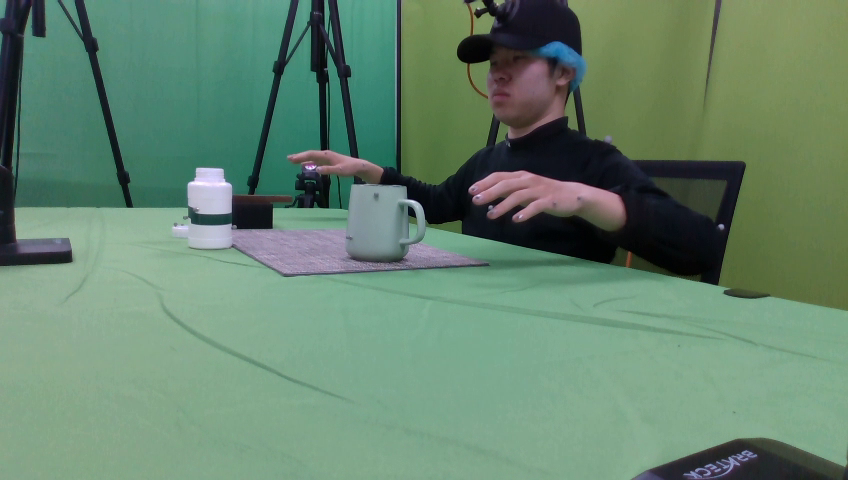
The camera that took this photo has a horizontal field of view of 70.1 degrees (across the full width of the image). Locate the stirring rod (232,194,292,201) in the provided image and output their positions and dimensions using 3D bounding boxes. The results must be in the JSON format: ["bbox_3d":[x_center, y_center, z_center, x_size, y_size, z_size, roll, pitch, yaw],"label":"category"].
[{"bbox_3d":[-0.353,-0.086,1.216,0.177,0.014,0.006,-1,12,-27],"label":"stirring rod"}]

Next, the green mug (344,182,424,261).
[{"bbox_3d":[-0.053,-0.026,0.849,0.125,0.105,0.093,7,9,33],"label":"green mug"}]

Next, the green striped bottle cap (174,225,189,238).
[{"bbox_3d":[-0.404,-0.015,1.036,0.044,0.020,0.044,-2,8,1],"label":"green striped bottle cap"}]

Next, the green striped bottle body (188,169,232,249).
[{"bbox_3d":[-0.324,-0.049,0.919,0.063,0.119,0.063,2,8,0],"label":"green striped bottle body"}]
